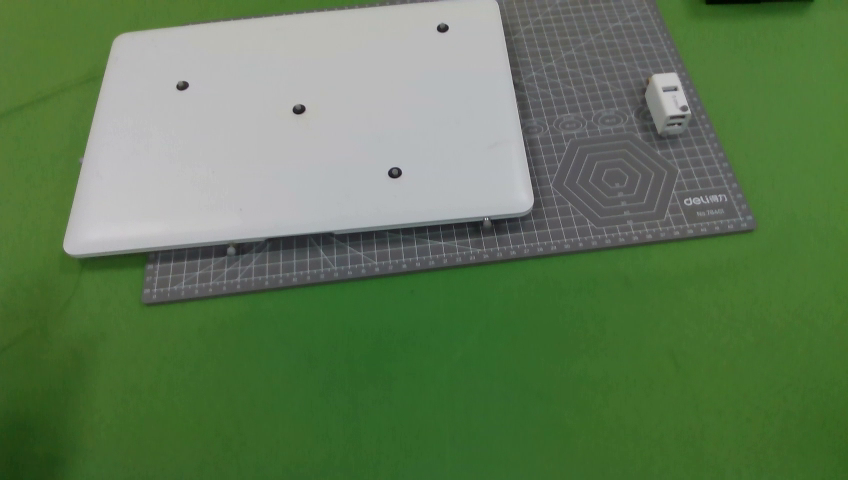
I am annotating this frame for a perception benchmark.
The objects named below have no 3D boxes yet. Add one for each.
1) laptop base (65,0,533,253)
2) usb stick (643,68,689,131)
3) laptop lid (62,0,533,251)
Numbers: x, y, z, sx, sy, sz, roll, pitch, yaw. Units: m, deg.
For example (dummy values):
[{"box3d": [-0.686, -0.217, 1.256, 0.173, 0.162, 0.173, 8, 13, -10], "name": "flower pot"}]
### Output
[{"box3d": [-0.101, -0.104, 0.507, 0.354, 0.023, 0.233, -5, 63, 0], "name": "laptop base"}, {"box3d": [0.194, -0.119, 0.492, 0.021, 0.027, 0.058, -6, 57, 2], "name": "usb stick"}, {"box3d": [-0.102, -0.109, 0.496, 0.357, 0.013, 0.239, -4, 62, 1], "name": "laptop lid"}]
